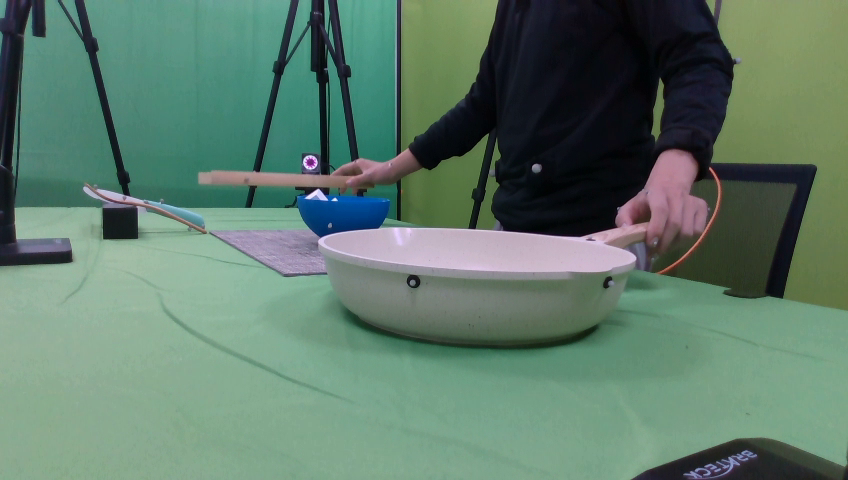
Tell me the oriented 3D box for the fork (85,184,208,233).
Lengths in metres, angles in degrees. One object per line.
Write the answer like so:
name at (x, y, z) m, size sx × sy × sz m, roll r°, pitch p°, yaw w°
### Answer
fork at (-0.462, -0.051, 1.019) m, size 0.208 × 0.018 × 0.028 m, roll 22°, pitch -11°, yaw -37°

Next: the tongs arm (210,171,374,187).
tongs arm at (-0.269, -0.130, 1.310) m, size 0.390 × 0.027 × 0.028 m, roll -3°, pitch 0°, yaw -37°

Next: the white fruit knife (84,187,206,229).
white fruit knife at (-0.488, -0.059, 1.071) m, size 0.208 × 0.027 × 0.016 m, roll 17°, pitch 4°, yaw -33°

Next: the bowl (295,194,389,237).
bowl at (-0.133, -0.032, 0.981) m, size 0.151 × 0.077 × 0.151 m, roll 2°, pitch 7°, yaw 0°

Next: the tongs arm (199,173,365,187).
tongs arm at (-0.305, -0.136, 1.377) m, size 0.387 × 0.026 × 0.050 m, roll -1°, pitch 3°, yaw -25°

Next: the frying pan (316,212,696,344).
frying pan at (0.133, 0.013, 0.630) m, size 0.490 × 0.102 × 0.305 m, roll -12°, pitch 14°, yaw -31°
